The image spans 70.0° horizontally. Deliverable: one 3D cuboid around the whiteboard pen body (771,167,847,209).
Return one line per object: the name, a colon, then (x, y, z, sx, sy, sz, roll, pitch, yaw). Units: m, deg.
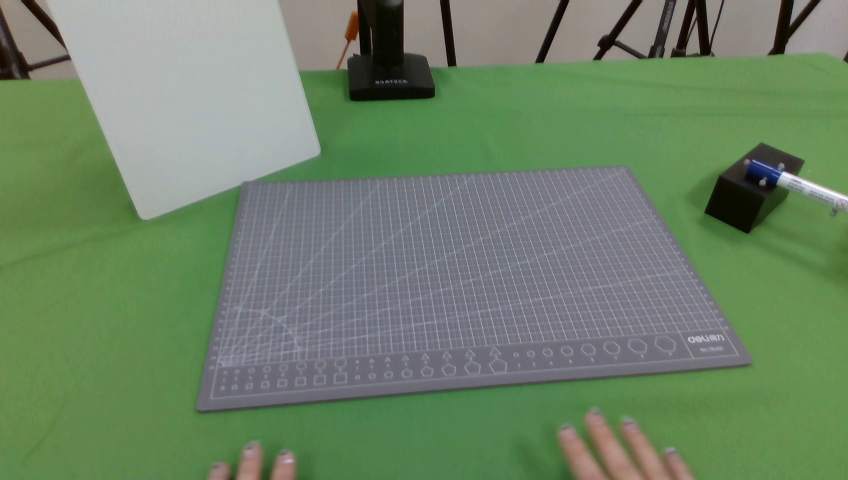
whiteboard pen body: (0.392, -0.049, 0.594, 0.139, 0.017, 0.017, 31, 49, 30)

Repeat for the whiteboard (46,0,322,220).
whiteboard: (-0.276, -0.215, 0.661, 0.217, 0.308, 0.142, -28, 30, -28)

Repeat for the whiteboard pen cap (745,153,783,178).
whiteboard pen cap: (0.349, -0.076, 0.621, 0.033, 0.018, 0.018, 32, 50, 30)
